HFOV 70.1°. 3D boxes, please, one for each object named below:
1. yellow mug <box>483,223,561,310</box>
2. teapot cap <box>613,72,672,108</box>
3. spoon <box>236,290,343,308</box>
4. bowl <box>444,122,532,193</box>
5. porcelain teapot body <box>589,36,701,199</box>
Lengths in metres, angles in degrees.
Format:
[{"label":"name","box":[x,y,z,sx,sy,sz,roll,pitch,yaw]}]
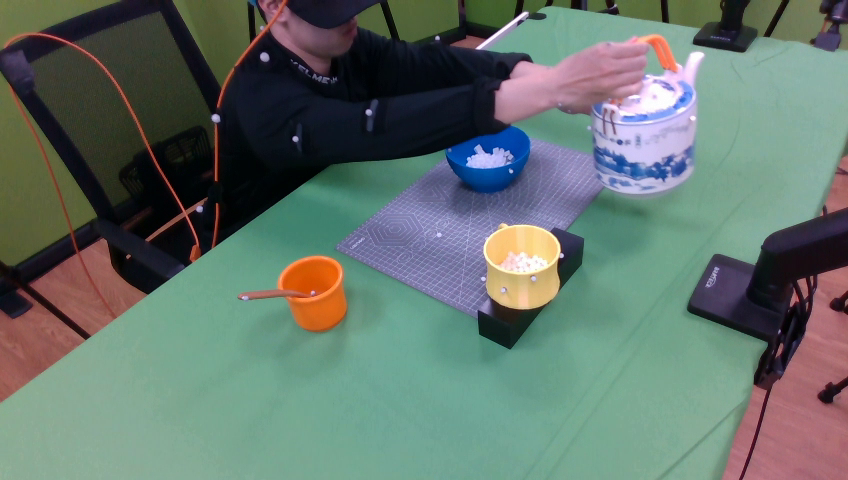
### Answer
[{"label":"yellow mug","box":[0.125,0.025,0.811,0.100,0.064,0.130,-16,39,-10]},{"label":"teapot cap","box":[0.307,-0.214,0.857,0.085,0.044,0.085,-9,35,7]},{"label":"spoon","box":[-0.175,0.076,0.808,0.041,0.195,0.021,23,93,30]},{"label":"bowl","box":[0.114,-0.136,1.064,0.151,0.077,0.150,-4,41,4]},{"label":"porcelain teapot body","box":[0.337,-0.198,0.893,0.206,0.226,0.144,-35,40,-22]}]
